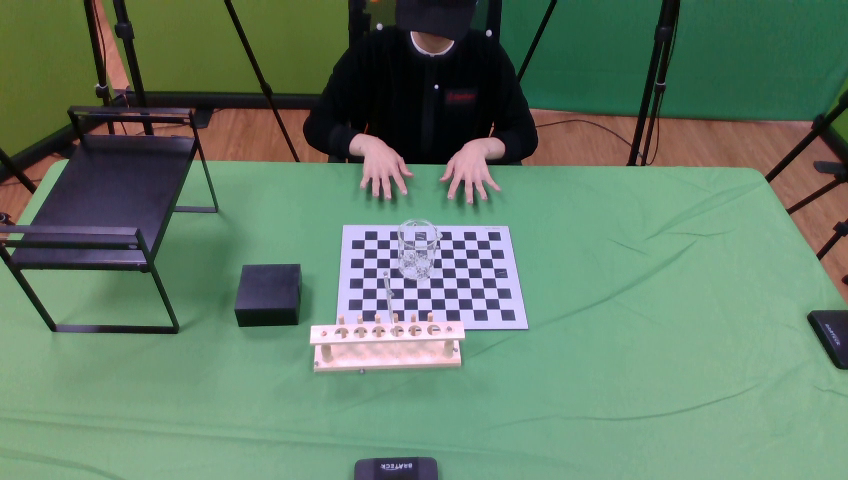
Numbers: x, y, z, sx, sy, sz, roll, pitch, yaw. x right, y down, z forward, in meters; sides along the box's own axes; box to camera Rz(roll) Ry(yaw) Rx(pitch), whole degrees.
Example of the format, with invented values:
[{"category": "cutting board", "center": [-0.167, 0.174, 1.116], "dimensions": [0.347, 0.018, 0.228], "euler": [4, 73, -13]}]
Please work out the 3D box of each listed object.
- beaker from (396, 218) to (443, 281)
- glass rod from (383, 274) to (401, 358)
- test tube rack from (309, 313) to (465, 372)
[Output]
[{"category": "beaker", "center": [-0.010, 0.020, 1.115], "dimensions": [0.084, 0.101, 0.073], "euler": [1, 46, -3]}, {"category": "glass rod", "center": [-0.048, 0.123, 0.936], "dimensions": [0.008, 0.201, 0.008], "euler": [-3, 43, 3]}, {"category": "test tube rack", "center": [-0.059, 0.161, 0.990], "dimensions": [0.242, 0.085, 0.066], "euler": [-1, 46, -5]}]
